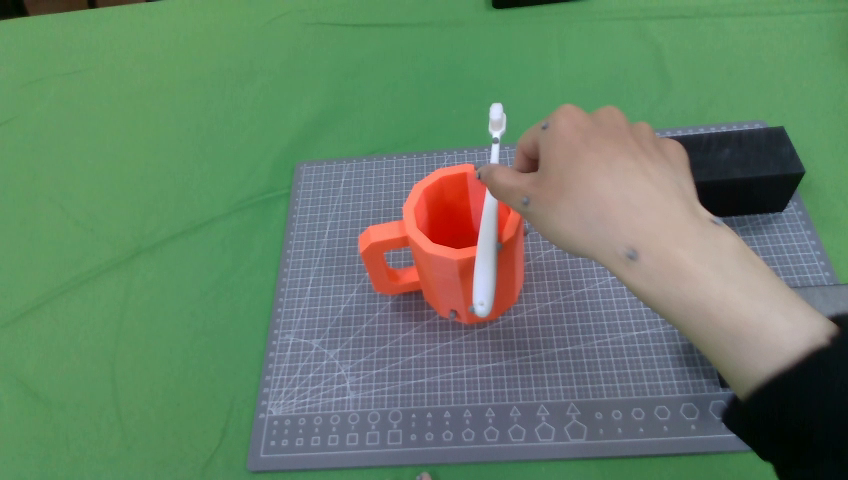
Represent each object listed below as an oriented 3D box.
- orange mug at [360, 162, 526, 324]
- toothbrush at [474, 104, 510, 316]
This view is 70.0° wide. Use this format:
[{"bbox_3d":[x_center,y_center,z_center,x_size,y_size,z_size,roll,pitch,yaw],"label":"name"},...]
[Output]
[{"bbox_3d":[0.017,0.007,0.465,0.126,0.102,0.082,-8,54,-3],"label":"orange mug"},{"bbox_3d":[0.048,-0.029,0.421,0.014,0.017,0.180,3,56,9],"label":"toothbrush"}]
